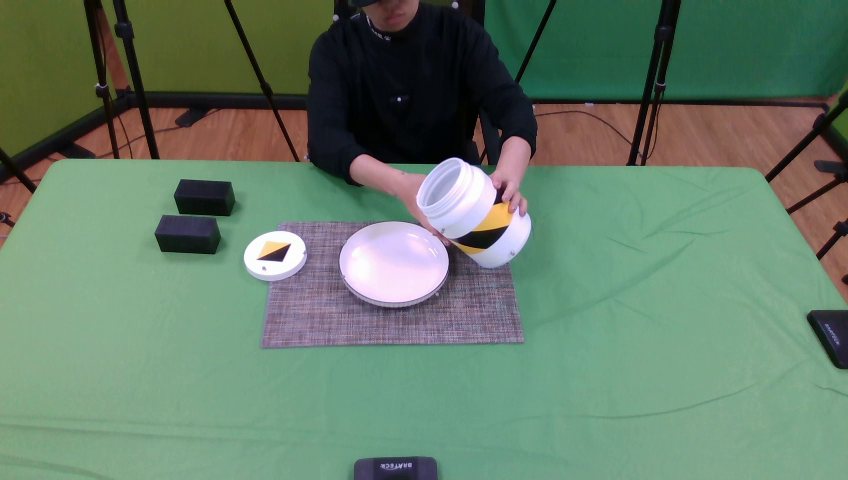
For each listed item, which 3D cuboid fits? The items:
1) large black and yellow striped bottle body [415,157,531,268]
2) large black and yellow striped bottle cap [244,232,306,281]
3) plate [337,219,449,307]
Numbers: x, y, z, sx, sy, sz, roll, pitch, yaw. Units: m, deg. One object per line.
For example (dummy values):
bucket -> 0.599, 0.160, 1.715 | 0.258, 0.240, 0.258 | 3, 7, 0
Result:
large black and yellow striped bottle body -> 0.086, -0.049, 1.070 | 0.185, 0.131, 0.130 | 38, 38, -29
large black and yellow striped bottle cap -> -0.282, 0.030, 1.146 | 0.115, 0.019, 0.114 | -1, 45, 1
plate -> -0.057, 0.045, 1.133 | 0.208, 0.039, 0.206 | 2, 46, -2
